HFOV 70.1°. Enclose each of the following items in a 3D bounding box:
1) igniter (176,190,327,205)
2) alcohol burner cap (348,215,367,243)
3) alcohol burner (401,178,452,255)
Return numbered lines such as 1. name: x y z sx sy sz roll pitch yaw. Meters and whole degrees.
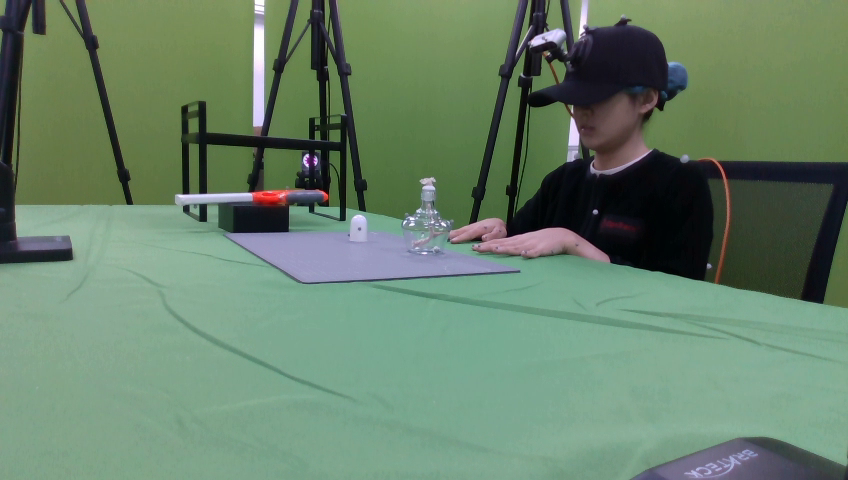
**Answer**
1. igniter: -0.316 -0.080 1.137 0.278 0.025 0.057 -4 13 -33
2. alcohol burner cap: -0.112 -0.019 1.025 0.034 0.048 0.034 2 6 0
3. alcohol burner: 0.005 -0.036 0.923 0.078 0.119 0.078 5 7 0
